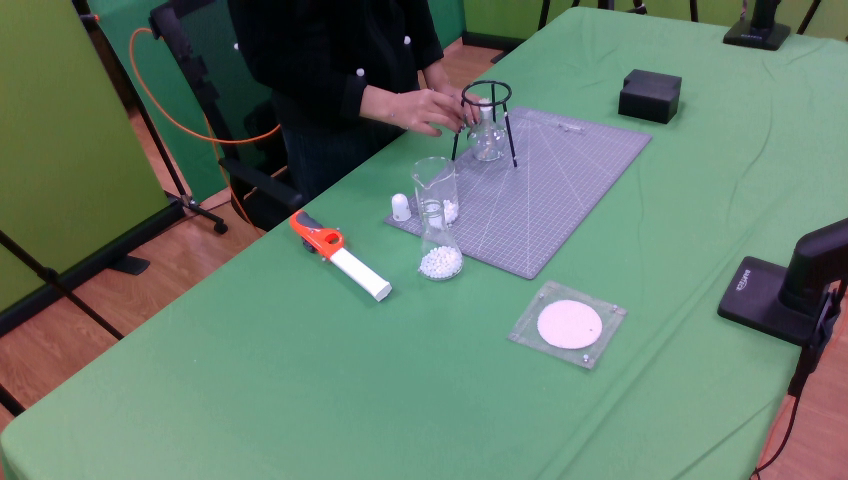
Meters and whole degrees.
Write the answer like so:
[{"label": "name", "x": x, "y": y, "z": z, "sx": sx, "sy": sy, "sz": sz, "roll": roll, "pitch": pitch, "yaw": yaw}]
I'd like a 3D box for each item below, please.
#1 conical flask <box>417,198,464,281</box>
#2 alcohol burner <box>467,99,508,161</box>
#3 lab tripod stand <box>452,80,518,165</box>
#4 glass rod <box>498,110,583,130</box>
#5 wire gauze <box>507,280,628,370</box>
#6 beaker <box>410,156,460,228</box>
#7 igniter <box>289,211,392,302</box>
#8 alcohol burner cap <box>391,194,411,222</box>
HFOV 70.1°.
[{"label": "conical flask", "x": 0.019, "y": -0.004, "z": 0.907, "sx": 0.075, "sy": 0.122, "sz": 0.075, "roll": -5, "pitch": 40, "yaw": 5}, {"label": "alcohol burner", "x": 0.119, "y": -0.210, "z": 1.134, "sx": 0.078, "sy": 0.119, "sz": 0.077, "roll": -4, "pitch": 39, "yaw": 4}, {"label": "lab tripod stand", "x": 0.118, "y": -0.219, "z": 1.124, "sx": 0.148, "sy": 0.132, "sz": 0.147, "roll": -4, "pitch": 41, "yaw": 4}, {"label": "glass rod", "x": 0.233, "y": -0.245, "z": 1.235, "sx": 0.198, "sy": 0.008, "sz": 0.008, "roll": 21, "pitch": 49, "yaw": 35}, {"label": "wire gauze", "x": 0.196, "y": 0.114, "z": 0.823, "sx": 0.120, "sy": 0.011, "sz": 0.125, "roll": 20, "pitch": 50, "yaw": 31}, {"label": "beaker", "x": 0.020, "y": -0.076, "z": 1.006, "sx": 0.074, "sy": 0.101, "sz": 0.084, "roll": 3, "pitch": 42, "yaw": 15}, {"label": "igniter", "x": -0.145, "y": 0.019, "z": 0.986, "sx": 0.057, "sy": 0.025, "sz": 0.274, "roll": -40, "pitch": 48, "yaw": -18}, {"label": "alcohol burner cap", "x": -0.041, "y": -0.057, "z": 1.040, "sx": 0.034, "sy": 0.048, "sz": 0.033, "roll": -6, "pitch": 40, "yaw": 5}]
